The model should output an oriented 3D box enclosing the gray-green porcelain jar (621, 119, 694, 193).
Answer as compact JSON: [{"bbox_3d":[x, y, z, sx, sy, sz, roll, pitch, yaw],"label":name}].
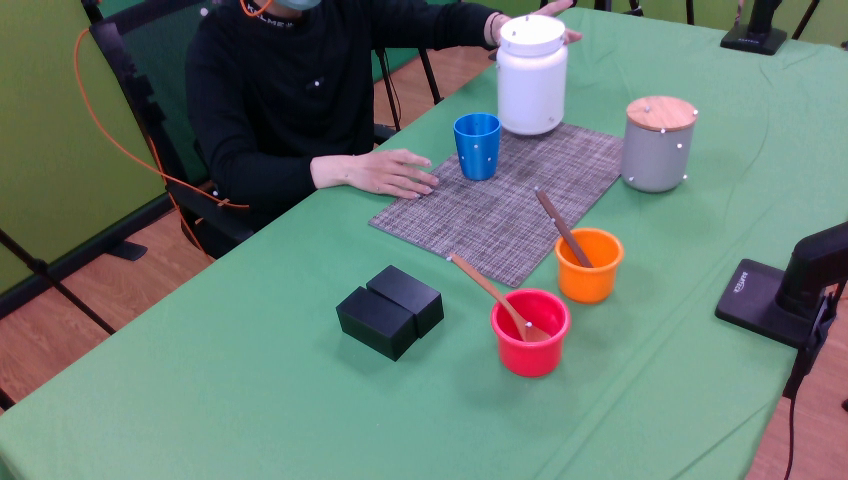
[{"bbox_3d":[0.389,-0.152,1.016,0.106,0.127,0.105,-4,40,4],"label":"gray-green porcelain jar"}]

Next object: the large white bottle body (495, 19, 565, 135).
[{"bbox_3d":[0.201,-0.309,1.149,0.130,0.185,0.130,-5,43,5],"label":"large white bottle body"}]

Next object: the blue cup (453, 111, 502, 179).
[{"bbox_3d":[0.097,-0.166,1.089,0.092,0.100,0.092,-3,40,3],"label":"blue cup"}]

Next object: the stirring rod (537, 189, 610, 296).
[{"bbox_3d":[0.211,0.003,0.855,0.014,0.006,0.176,-32,88,-30],"label":"stirring rod"}]

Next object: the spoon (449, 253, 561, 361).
[{"bbox_3d":[0.103,0.083,0.770,0.194,0.021,0.042,47,52,-7],"label":"spoon"}]

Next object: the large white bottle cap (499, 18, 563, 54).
[{"bbox_3d":[0.193,-0.370,1.091,0.115,0.018,0.114,-4,43,4],"label":"large white bottle cap"}]

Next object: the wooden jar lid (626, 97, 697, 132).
[{"bbox_3d":[0.381,-0.198,0.976,0.108,0.021,0.108,-2,40,3],"label":"wooden jar lid"}]
